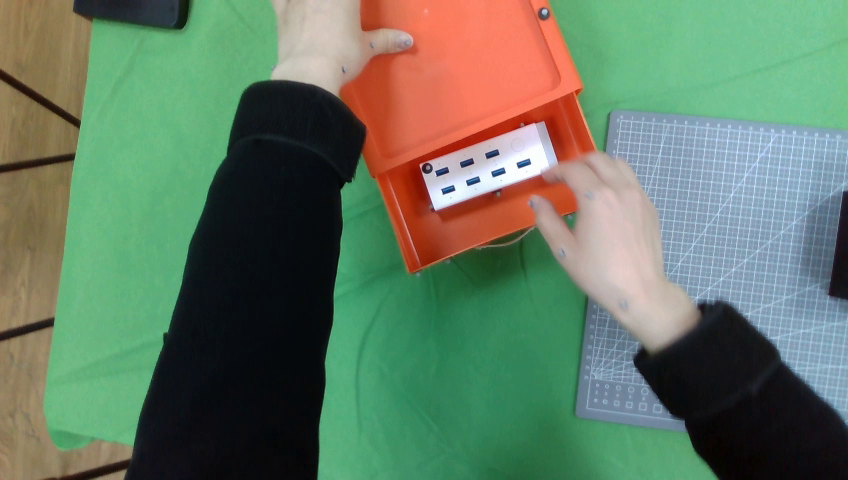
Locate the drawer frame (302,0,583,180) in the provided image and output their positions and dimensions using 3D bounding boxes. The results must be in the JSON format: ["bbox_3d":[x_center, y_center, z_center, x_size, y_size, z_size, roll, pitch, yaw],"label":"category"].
[{"bbox_3d":[0.008,-0.189,0.554,0.201,0.083,0.213,-22,89,5],"label":"drawer frame"}]

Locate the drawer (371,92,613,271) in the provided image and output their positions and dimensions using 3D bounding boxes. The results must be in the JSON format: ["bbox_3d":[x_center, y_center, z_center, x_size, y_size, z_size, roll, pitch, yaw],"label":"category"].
[{"bbox_3d":[0.041,-0.099,0.559,0.194,0.073,0.211,-20,89,5],"label":"drawer"}]

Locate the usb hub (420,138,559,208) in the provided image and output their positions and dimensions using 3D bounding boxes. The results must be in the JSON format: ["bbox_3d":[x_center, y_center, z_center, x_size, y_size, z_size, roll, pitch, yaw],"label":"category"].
[{"bbox_3d":[0.061,-0.063,0.569,0.125,0.025,0.049,-7,92,10],"label":"usb hub"}]
